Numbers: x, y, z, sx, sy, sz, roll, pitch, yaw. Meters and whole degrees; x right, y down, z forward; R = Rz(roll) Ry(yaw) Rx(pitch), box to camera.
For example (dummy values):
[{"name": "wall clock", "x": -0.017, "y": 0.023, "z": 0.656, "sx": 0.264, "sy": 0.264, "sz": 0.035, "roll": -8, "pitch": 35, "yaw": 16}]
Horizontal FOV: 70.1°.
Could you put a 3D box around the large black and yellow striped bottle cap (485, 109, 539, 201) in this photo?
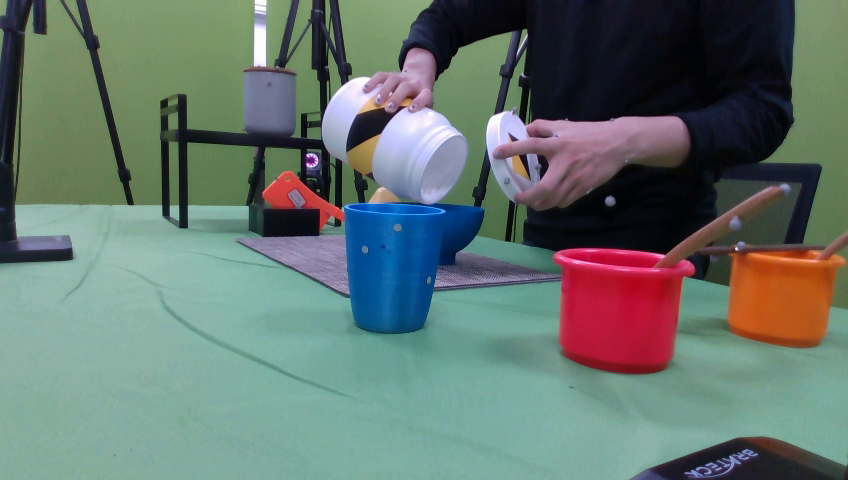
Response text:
[{"name": "large black and yellow striped bottle cap", "x": 0.111, "y": -0.106, "z": 0.752, "sx": 0.018, "sy": 0.115, "sz": 0.115, "roll": -15, "pitch": -3, "yaw": 33}]

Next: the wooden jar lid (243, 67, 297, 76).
[{"name": "wooden jar lid", "x": -0.319, "y": -0.342, "z": 1.254, "sx": 0.108, "sy": 0.020, "sz": 0.108, "roll": 3, "pitch": 8, "yaw": 0}]

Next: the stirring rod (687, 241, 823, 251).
[{"name": "stirring rod", "x": 0.290, "y": 0.005, "z": 0.525, "sx": 0.177, "sy": 0.006, "sz": 0.014, "roll": -1, "pitch": 5, "yaw": -26}]

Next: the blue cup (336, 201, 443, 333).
[{"name": "blue cup", "x": -0.029, "y": 0.021, "z": 0.508, "sx": 0.093, "sy": 0.100, "sz": 0.092, "roll": 3, "pitch": 9, "yaw": 0}]

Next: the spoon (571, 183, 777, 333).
[{"name": "spoon", "x": 0.161, "y": 0.020, "z": 0.413, "sx": 0.042, "sy": 0.021, "sz": 0.193, "roll": 0, "pitch": -36, "yaw": -24}]

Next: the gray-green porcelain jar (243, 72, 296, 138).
[{"name": "gray-green porcelain jar", "x": -0.322, "y": -0.279, "z": 1.263, "sx": 0.106, "sy": 0.126, "sz": 0.106, "roll": 3, "pitch": 8, "yaw": 0}]

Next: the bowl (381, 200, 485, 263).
[{"name": "bowl", "x": 0.008, "y": -0.013, "z": 0.841, "sx": 0.151, "sy": 0.077, "sz": 0.151, "roll": 2, "pitch": 7, "yaw": 0}]

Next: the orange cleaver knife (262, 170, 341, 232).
[{"name": "orange cleaver knife", "x": -0.201, "y": -0.057, "z": 1.136, "sx": 0.212, "sy": 0.077, "sz": 0.012, "roll": 31, "pitch": -4, "yaw": -31}]

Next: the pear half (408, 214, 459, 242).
[{"name": "pear half", "x": 0.011, "y": -0.020, "z": 0.848, "sx": 0.070, "sy": 0.031, "sz": 0.088, "roll": 6, "pitch": 14, "yaw": 30}]

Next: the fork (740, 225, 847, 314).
[{"name": "fork", "x": 0.323, "y": 0.013, "z": 0.485, "sx": 0.028, "sy": 0.018, "sz": 0.207, "roll": 9, "pitch": -38, "yaw": -5}]

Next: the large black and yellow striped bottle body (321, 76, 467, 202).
[{"name": "large black and yellow striped bottle body", "x": -0.042, "y": -0.143, "z": 0.868, "sx": 0.183, "sy": 0.130, "sz": 0.131, "roll": 33, "pitch": 21, "yaw": 25}]

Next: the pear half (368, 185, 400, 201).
[{"name": "pear half", "x": -0.064, "y": -0.061, "z": 1.077, "sx": 0.055, "sy": 0.110, "sz": 0.077, "roll": 9, "pitch": 14, "yaw": 39}]
